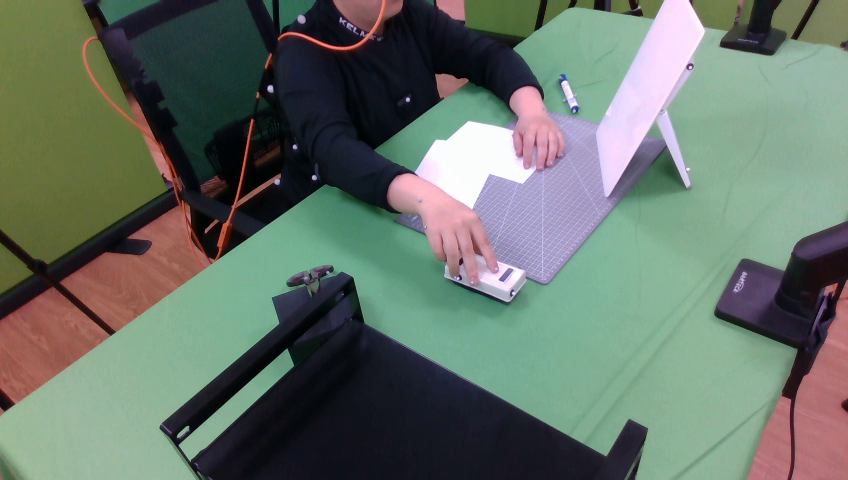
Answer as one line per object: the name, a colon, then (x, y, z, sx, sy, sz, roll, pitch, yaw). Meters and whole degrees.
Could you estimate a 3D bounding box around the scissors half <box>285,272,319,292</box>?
scissors half: (-0.172, 0.063, 0.868, 0.040, 0.013, 0.174, -11, 7, -21)

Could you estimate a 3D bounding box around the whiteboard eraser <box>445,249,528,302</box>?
whiteboard eraser: (0.090, 0.053, 0.883, 0.112, 0.042, 0.056, 19, 41, 29)

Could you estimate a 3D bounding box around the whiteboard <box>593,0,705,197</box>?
whiteboard: (0.421, -0.227, 1.009, 0.144, 0.305, 0.216, 17, 41, -3)

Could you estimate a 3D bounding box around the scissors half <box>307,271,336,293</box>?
scissors half: (-0.152, 0.061, 0.873, 0.040, 0.013, 0.175, -4, 5, -4)

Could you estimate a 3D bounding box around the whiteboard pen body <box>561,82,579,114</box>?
whiteboard pen body: (0.310, -0.311, 1.297, 0.017, 0.017, 0.140, -6, 41, 2)

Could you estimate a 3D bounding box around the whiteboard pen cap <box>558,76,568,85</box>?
whiteboard pen cap: (0.310, -0.350, 1.340, 0.018, 0.018, 0.033, -6, 41, 2)
